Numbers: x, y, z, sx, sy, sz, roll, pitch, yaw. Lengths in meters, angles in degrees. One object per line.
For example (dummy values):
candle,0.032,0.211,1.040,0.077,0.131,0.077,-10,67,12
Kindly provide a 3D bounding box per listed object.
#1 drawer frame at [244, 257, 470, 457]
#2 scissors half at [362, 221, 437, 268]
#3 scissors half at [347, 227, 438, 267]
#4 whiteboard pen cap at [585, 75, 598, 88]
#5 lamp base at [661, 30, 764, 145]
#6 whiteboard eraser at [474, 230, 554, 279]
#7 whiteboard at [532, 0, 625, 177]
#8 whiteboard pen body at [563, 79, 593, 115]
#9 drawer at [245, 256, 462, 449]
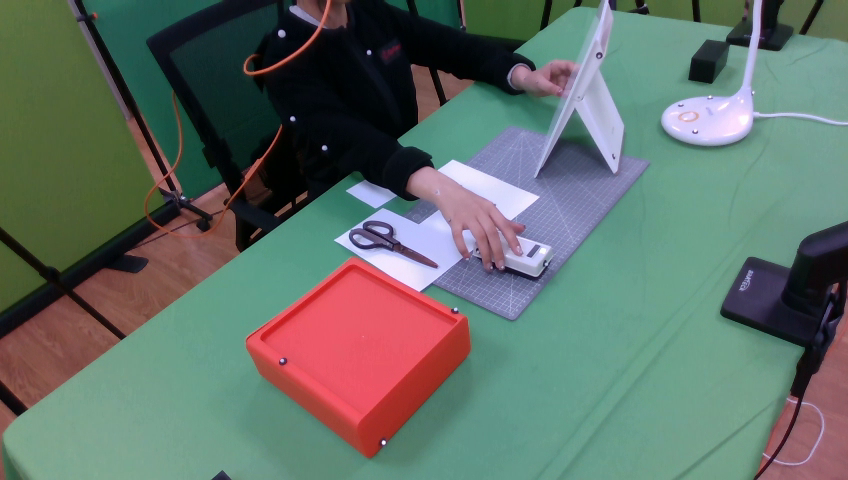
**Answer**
drawer frame,-0.084,0.138,0.788,0.212,0.083,0.202,25,50,33
scissors half,-0.039,0.007,0.988,0.040,0.013,0.173,-22,41,-35
scissors half,-0.053,0.015,0.975,0.174,0.013,0.040,18,40,24
whiteboard pen cap,0.362,-0.343,1.310,0.018,0.018,0.033,19,54,29
lamp base,0.535,-0.287,1.096,0.179,0.181,0.159,-10,40,-4
whiteboard eraser,0.135,0.022,0.915,0.112,0.042,0.055,17,51,32
whiteboard,0.320,-0.258,1.050,0.144,0.306,0.217,21,45,5
whiteboard pen body,0.328,-0.306,1.278,0.017,0.017,0.141,20,51,30
drawer,-0.089,0.136,0.792,0.210,0.073,0.195,26,51,34
